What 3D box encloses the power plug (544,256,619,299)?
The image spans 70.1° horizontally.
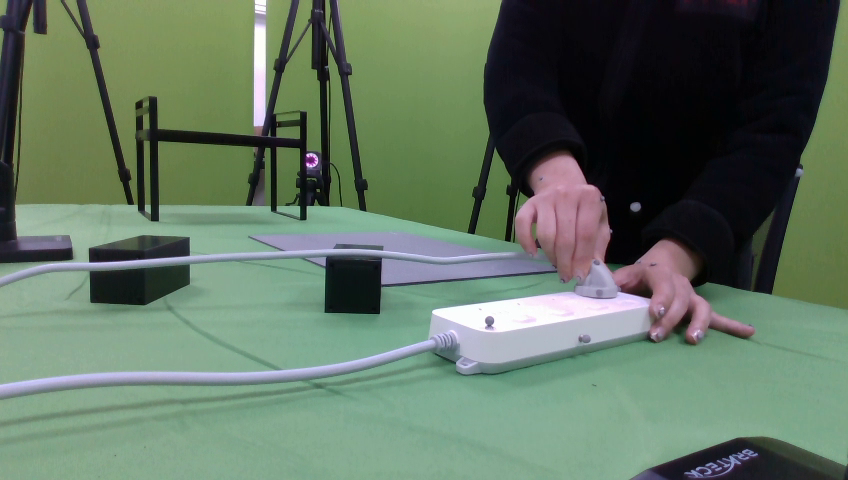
[{"bbox_3d":[0.144,0.042,0.548,0.035,0.052,0.072,-1,5,-26],"label":"power plug"}]

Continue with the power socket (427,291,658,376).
[{"bbox_3d":[0.101,0.067,0.481,0.228,0.032,0.072,-3,9,-37],"label":"power socket"}]
